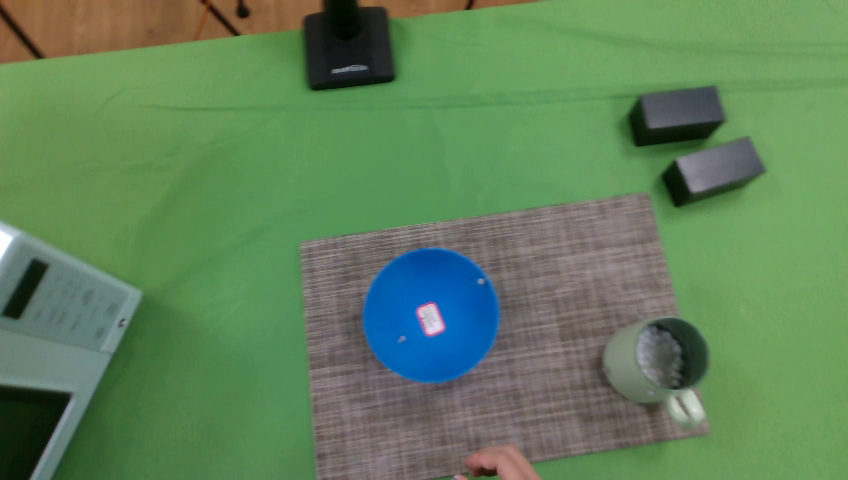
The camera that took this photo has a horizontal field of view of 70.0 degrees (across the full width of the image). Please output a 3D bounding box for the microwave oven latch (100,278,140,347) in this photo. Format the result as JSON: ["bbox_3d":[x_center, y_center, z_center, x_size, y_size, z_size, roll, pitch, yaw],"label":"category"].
[{"bbox_3d":[-0.361,0.082,0.702,0.030,0.029,0.079,21,75,6],"label":"microwave oven latch"}]

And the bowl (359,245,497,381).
[{"bbox_3d":[0.005,0.088,0.695,0.151,0.077,0.150,0,73,0],"label":"bowl"}]

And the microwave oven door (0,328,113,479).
[{"bbox_3d":[-0.438,0.249,0.548,0.039,0.245,0.354,19,74,6],"label":"microwave oven door"}]

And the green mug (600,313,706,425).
[{"bbox_3d":[0.258,0.143,0.665,0.092,0.105,0.124,-25,75,-7],"label":"green mug"}]

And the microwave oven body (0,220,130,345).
[{"bbox_3d":[-0.561,0.166,0.577,0.325,0.261,0.440,19,75,5],"label":"microwave oven body"}]
